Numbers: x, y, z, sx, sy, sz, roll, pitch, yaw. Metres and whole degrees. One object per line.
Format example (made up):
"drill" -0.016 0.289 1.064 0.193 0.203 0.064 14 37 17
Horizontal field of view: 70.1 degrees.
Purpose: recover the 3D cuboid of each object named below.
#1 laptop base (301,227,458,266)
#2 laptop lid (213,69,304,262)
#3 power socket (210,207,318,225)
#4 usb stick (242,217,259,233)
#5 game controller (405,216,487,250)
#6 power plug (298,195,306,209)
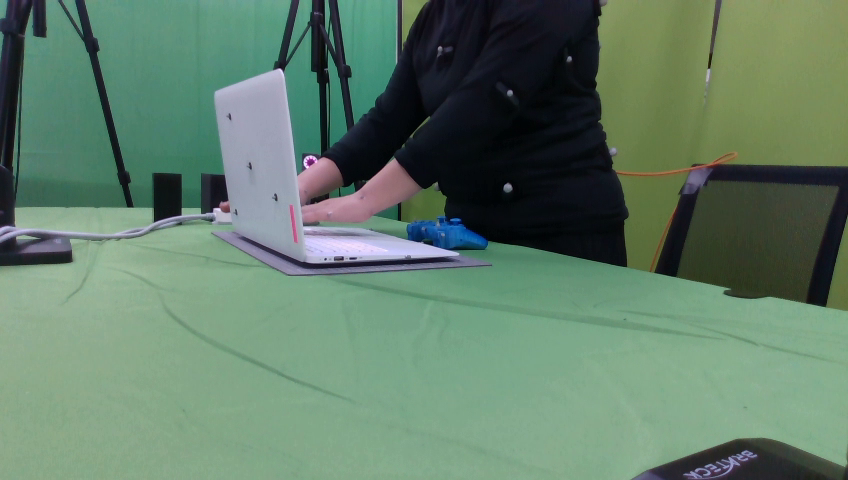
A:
"laptop base" -0.137 0.007 0.950 0.237 0.023 0.352 2 6 -32
"laptop lid" -0.247 -0.107 0.864 0.013 0.241 0.355 -10 14 -30
"power socket" -0.335 -0.051 1.280 0.228 0.032 0.072 -1 9 -29
"usb stick" -0.305 -0.027 1.069 0.021 0.027 0.059 1 6 -28
"game controller" 0.033 -0.014 1.066 0.097 0.051 0.154 -8 11 -29
"power plug" -0.283 -0.075 1.341 0.035 0.052 0.072 -1 3 -17
